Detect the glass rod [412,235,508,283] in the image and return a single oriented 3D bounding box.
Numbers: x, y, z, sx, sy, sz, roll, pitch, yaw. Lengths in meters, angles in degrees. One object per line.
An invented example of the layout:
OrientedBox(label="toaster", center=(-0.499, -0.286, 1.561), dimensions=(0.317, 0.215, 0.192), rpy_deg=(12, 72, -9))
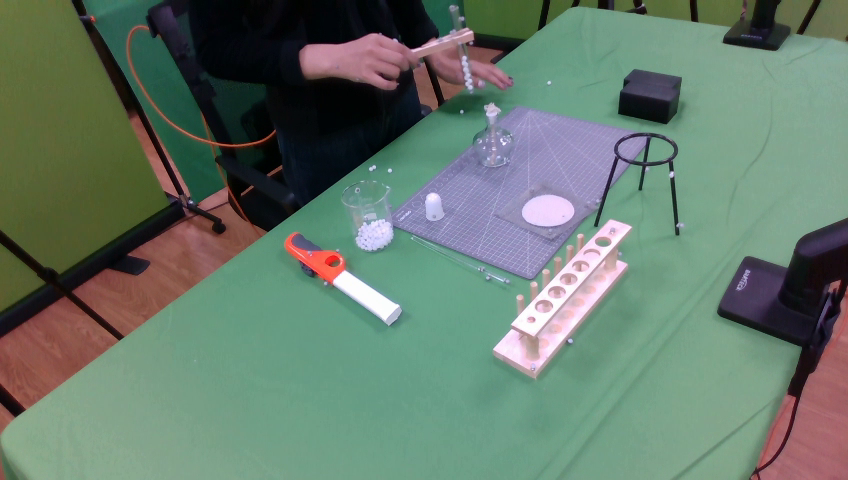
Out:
OrientedBox(label="glass rod", center=(0.051, 0.028, 0.951), dimensions=(0.198, 0.008, 0.008), rpy_deg=(25, 51, 37))

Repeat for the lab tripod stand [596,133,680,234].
OrientedBox(label="lab tripod stand", center=(0.338, -0.091, 0.940), dimensions=(0.148, 0.132, 0.147), rpy_deg=(-7, 39, 6))

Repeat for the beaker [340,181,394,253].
OrientedBox(label="beaker", center=(-0.087, -0.037, 0.985), dimensions=(0.084, 0.101, 0.073), rpy_deg=(-18, 41, -11))

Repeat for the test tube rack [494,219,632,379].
OrientedBox(label="test tube rack", center=(0.191, 0.068, 0.818), dimensions=(0.066, 0.085, 0.243), rpy_deg=(25, 51, 35))

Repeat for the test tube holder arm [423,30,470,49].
OrientedBox(label="test tube holder arm", center=(0.039, -0.328, 1.008), dimensions=(0.088, 0.015, 0.010), rpy_deg=(-26, 36, -14))

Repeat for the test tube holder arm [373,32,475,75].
OrientedBox(label="test tube holder arm", center=(0.000, -0.308, 0.995), dimensions=(0.179, 0.015, 0.013), rpy_deg=(-22, 35, -9))

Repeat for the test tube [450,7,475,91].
OrientedBox(label="test tube", center=(0.066, -0.320, 1.023), dimensions=(0.017, 0.151, 0.017), rpy_deg=(-10, 42, 9))

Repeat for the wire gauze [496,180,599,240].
OrientedBox(label="wire gauze", center=(0.206, -0.050, 1.012), dimensions=(0.125, 0.011, 0.120), rpy_deg=(-34, 45, -26))

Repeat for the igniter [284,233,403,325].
OrientedBox(label="igniter", center=(-0.136, 0.054, 0.942), dimensions=(0.274, 0.025, 0.057), rpy_deg=(30, 63, 37))

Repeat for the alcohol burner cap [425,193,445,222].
OrientedBox(label="alcohol burner cap", center=(0.017, -0.058, 1.029), dimensions=(0.034, 0.048, 0.033), rpy_deg=(-6, 40, 5))

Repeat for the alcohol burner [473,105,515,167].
OrientedBox(label="alcohol burner", center=(0.128, -0.196, 1.116), dimensions=(0.078, 0.119, 0.077), rpy_deg=(-4, 40, 4))
